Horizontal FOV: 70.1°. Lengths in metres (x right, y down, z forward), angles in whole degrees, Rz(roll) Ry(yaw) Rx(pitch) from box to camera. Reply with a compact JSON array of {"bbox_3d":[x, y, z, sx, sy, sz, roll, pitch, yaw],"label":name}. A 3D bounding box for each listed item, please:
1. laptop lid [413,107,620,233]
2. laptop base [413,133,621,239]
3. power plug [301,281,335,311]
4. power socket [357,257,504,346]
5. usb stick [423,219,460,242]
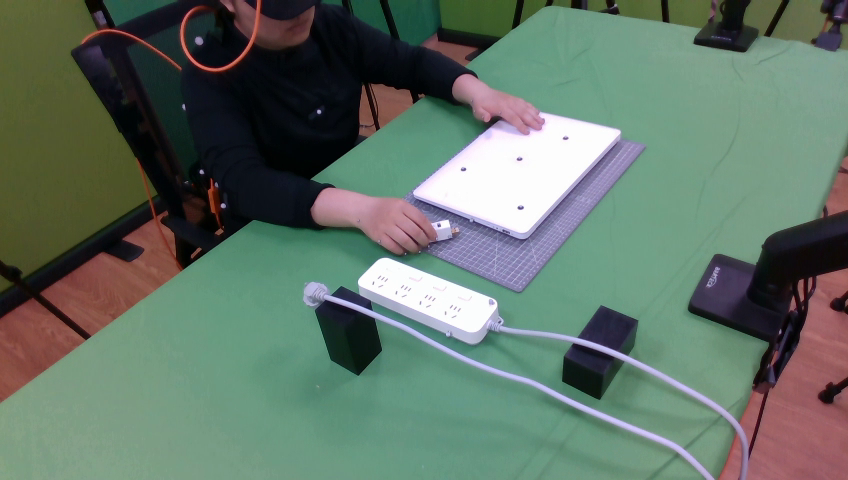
[{"bbox_3d":[0.173,-0.144,1.095,0.239,0.013,0.358,23,49,33],"label":"laptop lid"},{"bbox_3d":[0.176,-0.134,1.101,0.233,0.023,0.355,21,48,33],"label":"laptop base"},{"bbox_3d":[-0.134,0.081,0.783,0.035,0.053,0.072,-42,48,-7],"label":"power plug"},{"bbox_3d":[0.003,0.084,0.862,0.225,0.033,0.072,20,49,28],"label":"power socket"},{"bbox_3d":[0.029,-0.016,0.971,0.059,0.027,0.021,-8,39,-5],"label":"usb stick"}]
